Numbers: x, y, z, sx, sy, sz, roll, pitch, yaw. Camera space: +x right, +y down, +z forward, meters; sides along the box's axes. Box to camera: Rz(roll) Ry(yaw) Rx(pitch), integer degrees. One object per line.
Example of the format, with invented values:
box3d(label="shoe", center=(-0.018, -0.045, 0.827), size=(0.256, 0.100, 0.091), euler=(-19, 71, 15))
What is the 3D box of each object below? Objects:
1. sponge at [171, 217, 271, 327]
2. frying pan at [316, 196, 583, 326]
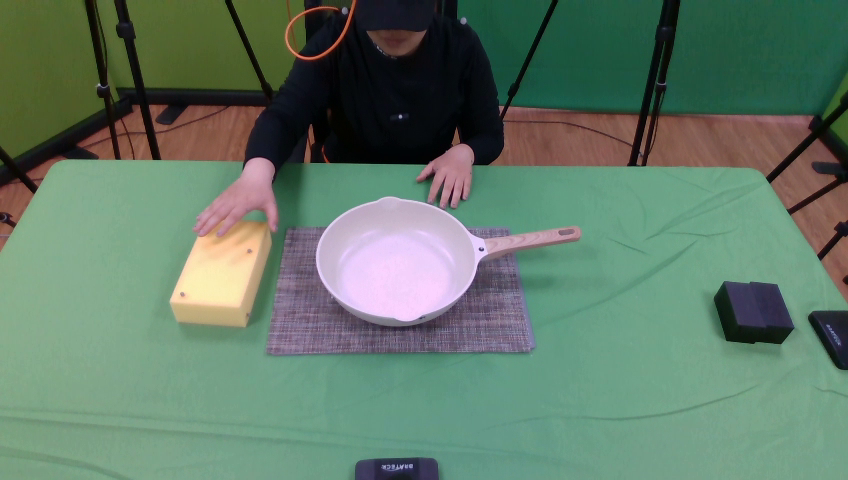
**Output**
box3d(label="sponge", center=(-0.360, 0.053, 1.094), size=(0.118, 0.061, 0.205), euler=(3, 46, -1))
box3d(label="frying pan", center=(0.054, 0.027, 1.114), size=(0.488, 0.103, 0.304), euler=(-9, 48, -1))
